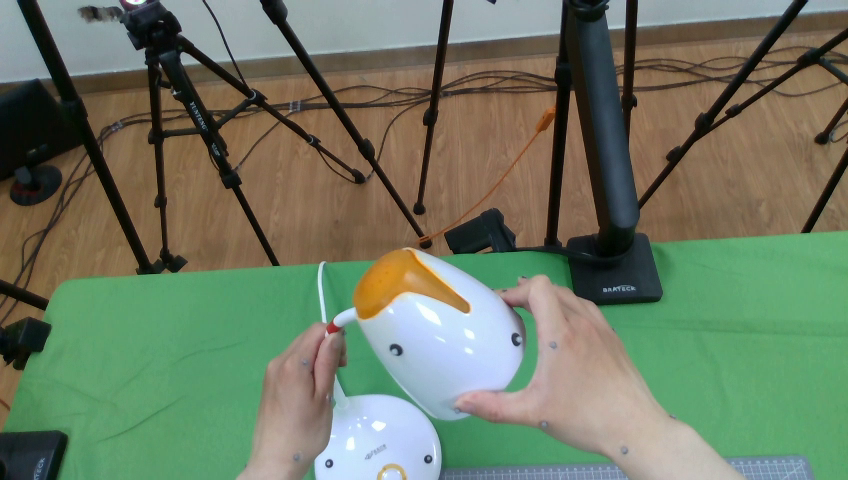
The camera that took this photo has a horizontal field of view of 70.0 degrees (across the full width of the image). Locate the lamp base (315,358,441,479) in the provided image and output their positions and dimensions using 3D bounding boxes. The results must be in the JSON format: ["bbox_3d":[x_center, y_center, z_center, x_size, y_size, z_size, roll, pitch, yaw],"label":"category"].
[{"bbox_3d":[-0.074,0.217,0.709,0.160,0.182,0.177,-38,59,-18],"label":"lamp base"}]

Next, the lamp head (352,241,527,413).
[{"bbox_3d":[0.000,0.060,0.479,0.112,0.124,0.111,-38,26,23],"label":"lamp head"}]

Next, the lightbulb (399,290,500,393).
[{"bbox_3d":[0.017,0.078,0.484,0.059,0.108,0.059,-32,27,19],"label":"lightbulb"}]
